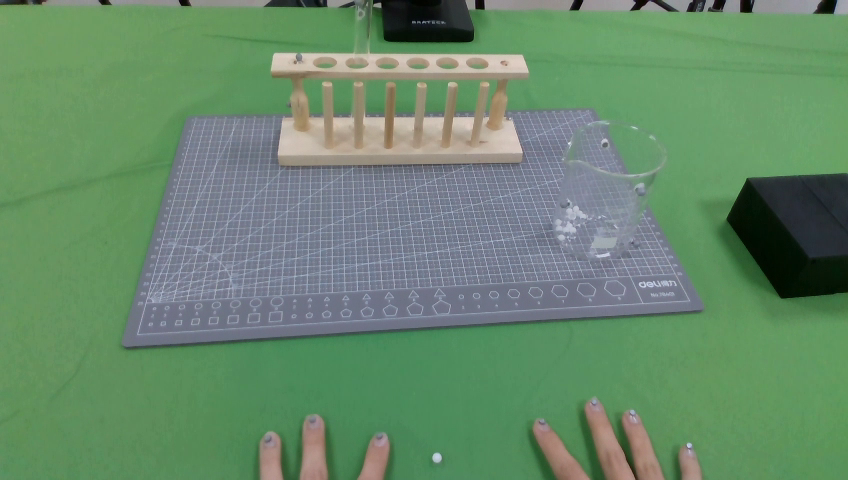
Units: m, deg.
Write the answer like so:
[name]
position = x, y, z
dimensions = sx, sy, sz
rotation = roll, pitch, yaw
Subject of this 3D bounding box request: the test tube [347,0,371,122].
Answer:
[test tube]
position = -0.061, -0.175, 0.571
dimensions = 0.017, 0.151, 0.017
rotation = 6, 44, -5

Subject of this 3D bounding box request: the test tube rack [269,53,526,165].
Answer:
[test tube rack]
position = -0.024, -0.130, 0.598
dimensions = 0.243, 0.086, 0.066
rotation = -2, 45, -6

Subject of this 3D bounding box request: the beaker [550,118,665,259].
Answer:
[beaker]
position = 0.146, -0.039, 0.510
dimensions = 0.084, 0.101, 0.073
rotation = -9, 46, -11
